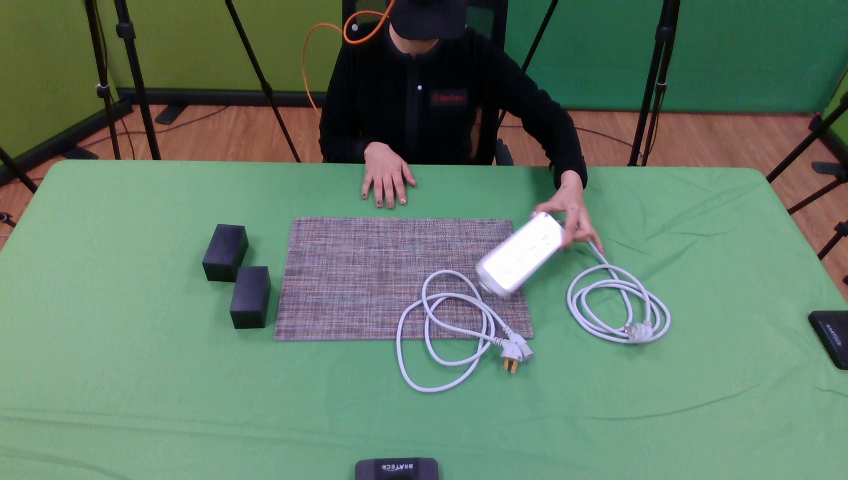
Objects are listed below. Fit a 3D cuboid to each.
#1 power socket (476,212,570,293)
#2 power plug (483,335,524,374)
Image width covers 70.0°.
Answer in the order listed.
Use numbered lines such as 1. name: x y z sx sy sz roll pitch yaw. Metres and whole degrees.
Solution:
1. power socket: 0.184 0.019 1.107 0.072 0.033 0.226 43 54 18
2. power plug: 0.132 0.193 1.018 0.072 0.035 0.052 7 68 25
